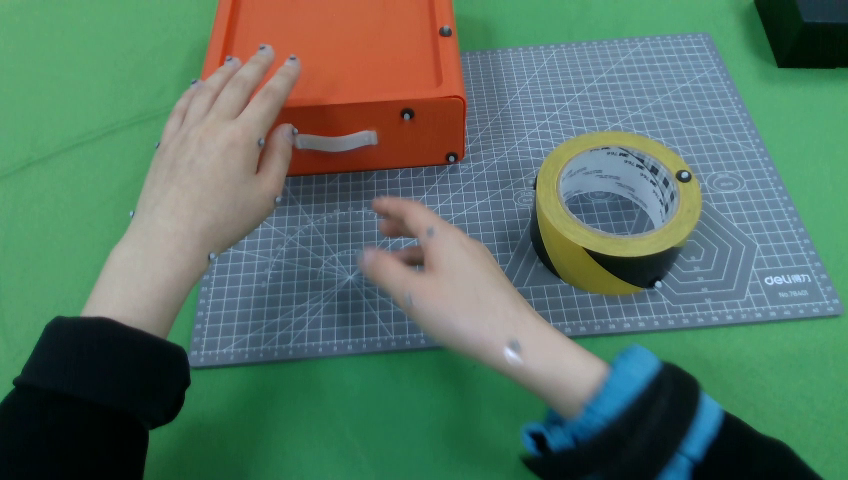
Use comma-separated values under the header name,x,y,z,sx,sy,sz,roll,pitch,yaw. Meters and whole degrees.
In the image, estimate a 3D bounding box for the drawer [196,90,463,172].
name,x,y,z,sx,sy,sz,roll,pitch,yaw
drawer,-0.072,-0.162,0.516,0.194,0.074,0.209,-4,57,1

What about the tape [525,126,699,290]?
name,x,y,z,sx,sy,sz,roll,pitch,yaw
tape,0.133,-0.023,0.435,0.117,0.053,0.116,-1,57,3

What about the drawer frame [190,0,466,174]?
name,x,y,z,sx,sy,sz,roll,pitch,yaw
drawer frame,-0.074,-0.164,0.517,0.202,0.083,0.211,-5,56,0
